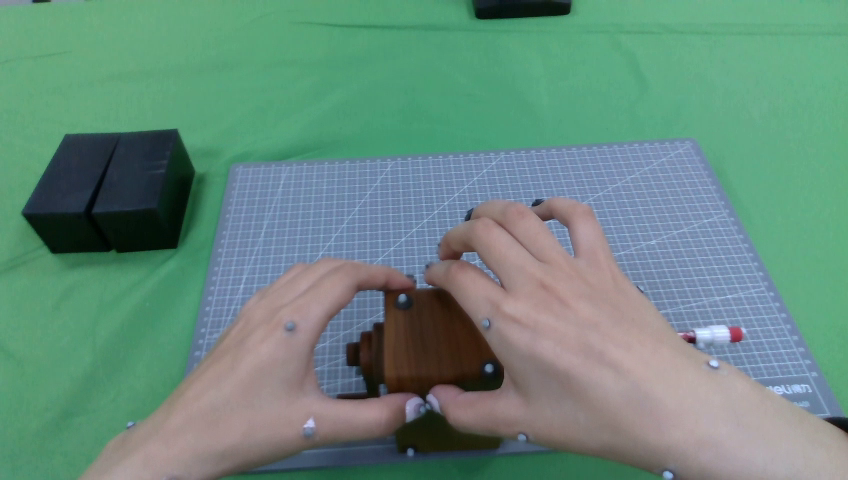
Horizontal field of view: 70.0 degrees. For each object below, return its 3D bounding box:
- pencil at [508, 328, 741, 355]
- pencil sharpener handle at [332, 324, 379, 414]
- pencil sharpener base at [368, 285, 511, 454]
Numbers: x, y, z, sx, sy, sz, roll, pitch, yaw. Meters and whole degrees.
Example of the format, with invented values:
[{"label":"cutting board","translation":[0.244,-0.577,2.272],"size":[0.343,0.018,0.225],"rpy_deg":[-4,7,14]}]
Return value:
[{"label":"pencil","translation":[0.089,0.062,0.354],"size":[0.194,0.012,0.012],"rpy_deg":[-3,49,-1]},{"label":"pencil sharpener handle","translation":[-0.043,0.080,0.360],"size":[0.030,0.068,0.035],"rpy_deg":[-3,36,-1]},{"label":"pencil sharpener base","translation":[0.009,0.083,0.373],"size":[0.077,0.108,0.060],"rpy_deg":[-3,49,-1]}]
